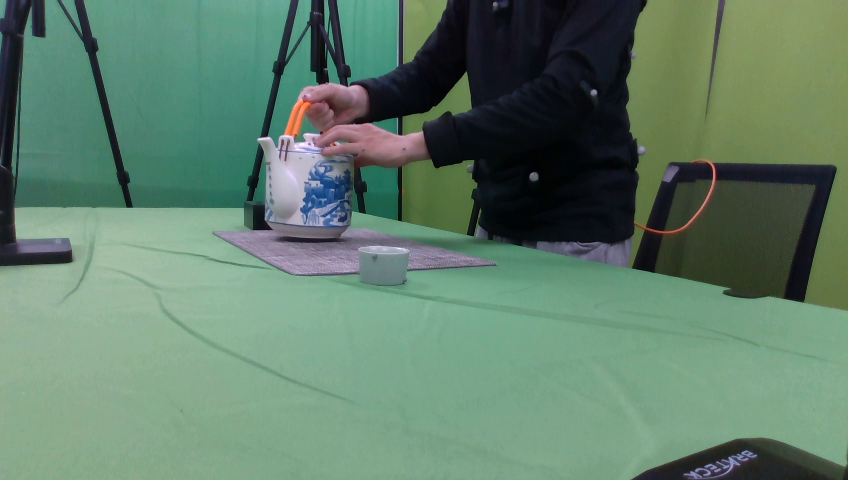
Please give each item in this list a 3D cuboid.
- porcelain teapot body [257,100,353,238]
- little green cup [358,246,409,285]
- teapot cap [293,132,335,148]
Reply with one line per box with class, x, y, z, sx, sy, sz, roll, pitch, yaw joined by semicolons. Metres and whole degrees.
porcelain teapot body;-0.204;-0.119;0.999;0.145;0.225;0.206;7;8;22
little green cup;-0.048;0.030;0.707;0.061;0.038;0.061;2;8;0
teapot cap;-0.191;-0.160;1.022;0.085;0.044;0.085;2;7;0
